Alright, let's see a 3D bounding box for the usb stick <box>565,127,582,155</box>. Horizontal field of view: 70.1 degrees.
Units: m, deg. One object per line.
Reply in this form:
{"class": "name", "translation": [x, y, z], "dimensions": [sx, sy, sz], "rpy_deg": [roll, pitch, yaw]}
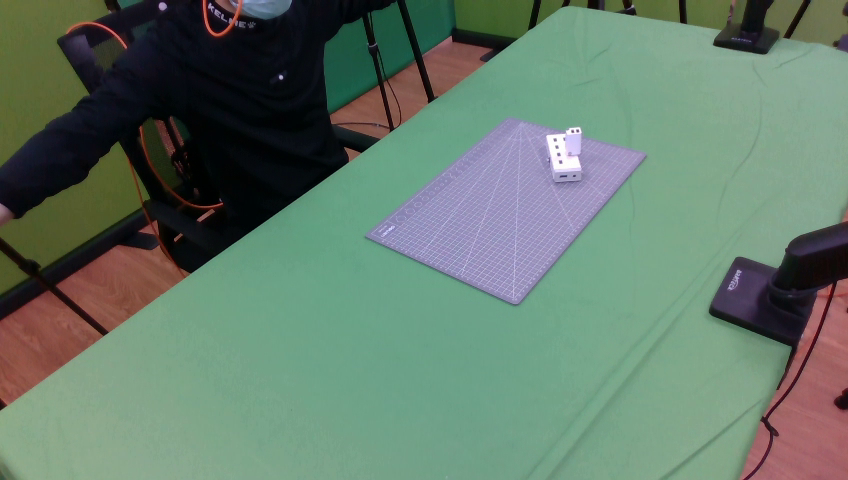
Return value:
{"class": "usb stick", "translation": [0.266, -0.170, 1.077], "dimensions": [0.027, 0.059, 0.021], "rpy_deg": [-3, 40, 2]}

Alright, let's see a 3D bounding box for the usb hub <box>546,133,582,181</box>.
{"class": "usb hub", "translation": [0.255, -0.153, 1.103], "dimensions": [0.049, 0.025, 0.124], "rpy_deg": [-3, 41, 5]}
